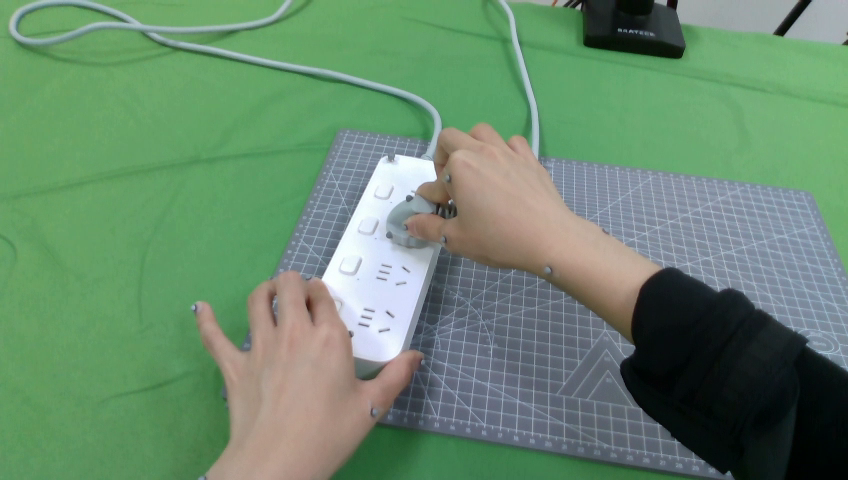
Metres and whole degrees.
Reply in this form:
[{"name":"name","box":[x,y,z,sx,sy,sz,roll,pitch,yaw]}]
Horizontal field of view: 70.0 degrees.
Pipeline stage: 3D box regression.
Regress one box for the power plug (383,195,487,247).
[{"name":"power plug","box":[0.004,-0.004,0.445,0.072,0.053,0.035,21,49,15]}]

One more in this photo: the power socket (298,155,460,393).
[{"name":"power socket","box":[-0.026,0.011,0.459,0.072,0.033,0.225,12,46,8]}]
